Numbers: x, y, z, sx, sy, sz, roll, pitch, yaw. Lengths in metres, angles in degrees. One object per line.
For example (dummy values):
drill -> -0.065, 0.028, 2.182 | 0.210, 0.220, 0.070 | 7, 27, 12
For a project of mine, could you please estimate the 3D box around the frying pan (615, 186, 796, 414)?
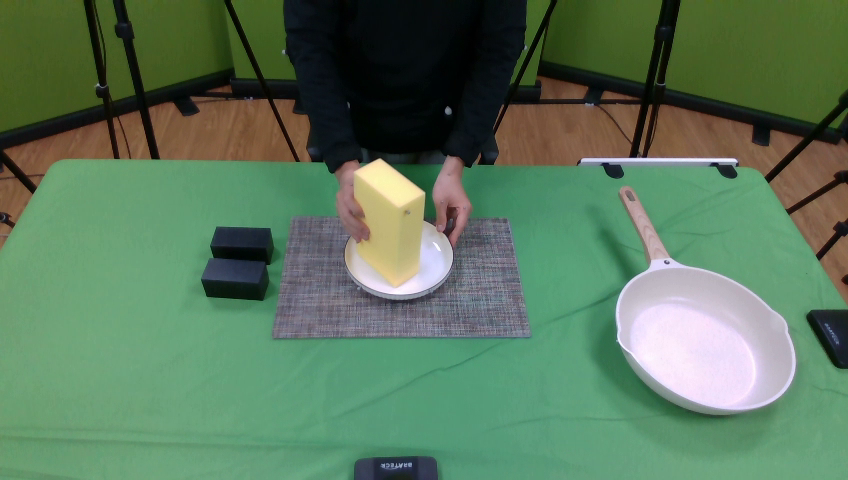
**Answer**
frying pan -> 0.449, 0.087, 1.091 | 0.307, 0.103, 0.484 | -4, 55, -10

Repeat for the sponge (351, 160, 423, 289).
sponge -> -0.067, -0.025, 1.073 | 0.061, 0.208, 0.117 | -34, 58, -29

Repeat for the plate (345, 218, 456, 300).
plate -> -0.045, 0.035, 1.146 | 0.208, 0.039, 0.206 | 2, 46, -2
